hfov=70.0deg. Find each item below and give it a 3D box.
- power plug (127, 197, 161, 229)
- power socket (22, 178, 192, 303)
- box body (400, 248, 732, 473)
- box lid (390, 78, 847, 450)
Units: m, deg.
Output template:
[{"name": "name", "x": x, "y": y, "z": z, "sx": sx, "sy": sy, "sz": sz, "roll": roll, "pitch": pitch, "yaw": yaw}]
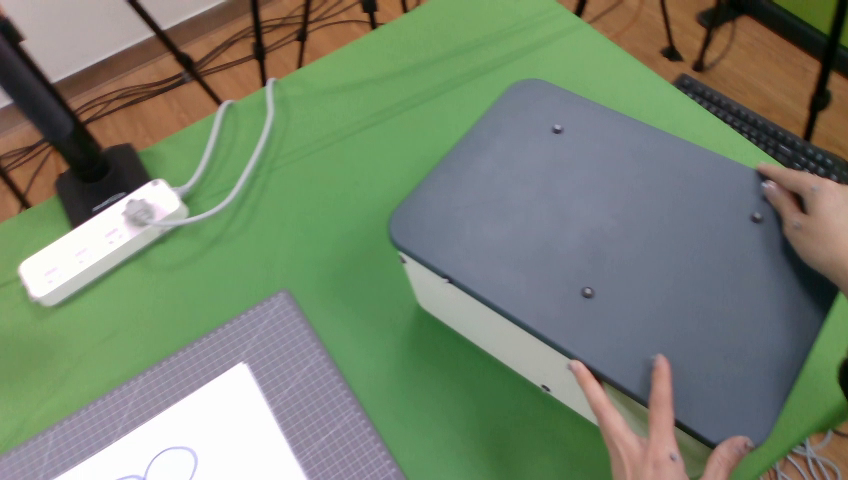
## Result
[{"name": "power plug", "x": -0.352, "y": -0.025, "z": 0.770, "sx": 0.035, "sy": 0.053, "sz": 0.072, "roll": -27, "pitch": 65, "yaw": -11}, {"name": "power socket", "x": -0.408, "y": -0.002, "z": 0.788, "sx": 0.226, "sy": 0.033, "sz": 0.071, "roll": -36, "pitch": 62, "yaw": -16}, {"name": "box body", "x": 0.185, "y": 0.029, "z": 0.624, "sx": 0.361, "sy": 0.162, "sz": 0.253, "roll": 31, "pitch": 66, "yaw": 23}, {"name": "box lid", "x": 0.176, "y": -0.012, "z": 0.563, "sx": 0.368, "sy": 0.015, "sz": 0.262, "roll": 31, "pitch": 66, "yaw": 23}]
